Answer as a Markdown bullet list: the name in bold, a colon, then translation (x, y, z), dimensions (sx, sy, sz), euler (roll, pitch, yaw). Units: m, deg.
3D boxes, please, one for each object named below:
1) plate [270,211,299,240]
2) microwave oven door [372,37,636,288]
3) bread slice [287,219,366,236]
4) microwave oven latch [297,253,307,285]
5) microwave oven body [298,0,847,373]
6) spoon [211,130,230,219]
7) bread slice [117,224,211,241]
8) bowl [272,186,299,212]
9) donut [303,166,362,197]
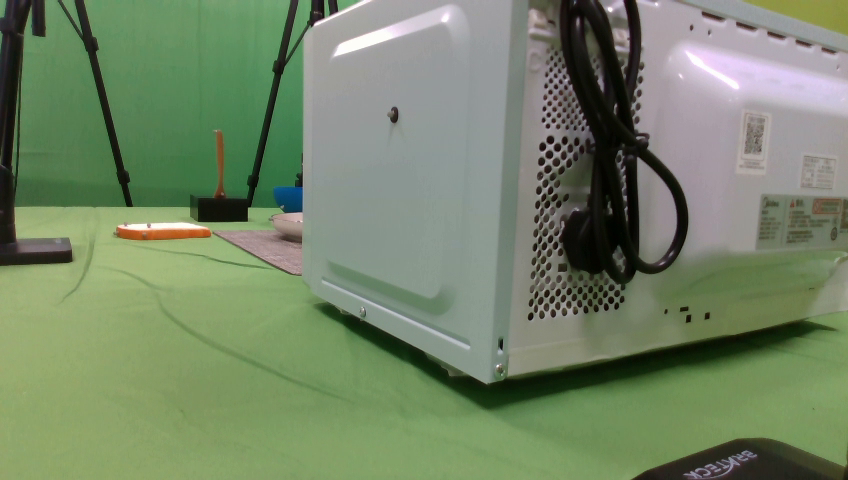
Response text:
- **plate**: translation (-0.162, -0.022, 1.058), dimensions (0.208, 0.039, 0.207), euler (2, 7, 0)
- **microwave oven door**: translation (0.110, -0.080, 0.686), dimensions (0.358, 0.243, 0.039), euler (-2, 9, -33)
- **bread slice**: translation (-0.170, -0.023, 1.057), dimensions (0.134, 0.018, 0.107), euler (1, 7, -6)
- **microwave oven latch**: translation (-0.082, 0.027, 0.582), dimensions (0.079, 0.029, 0.030), euler (-2, 7, -33)
- **microwave oven body**: translation (0.151, -0.055, 0.542), dimensions (0.444, 0.260, 0.324), euler (-2, 7, -33)
- **spoon**: translation (-0.436, -0.138, 1.296), dimensions (0.042, 0.193, 0.021), euler (-3, 23, -27)
- **bread slice**: translation (-0.443, -0.015, 1.022), dimensions (0.132, 0.019, 0.104), euler (-3, 8, -45)
- **bowl**: translation (-0.254, -0.075, 1.318), dimensions (0.151, 0.077, 0.151), euler (2, 7, 0)
- **donut**: translation (-0.155, -0.100, 1.029), dimensions (0.099, 0.048, 0.099), euler (6, 11, -1)
